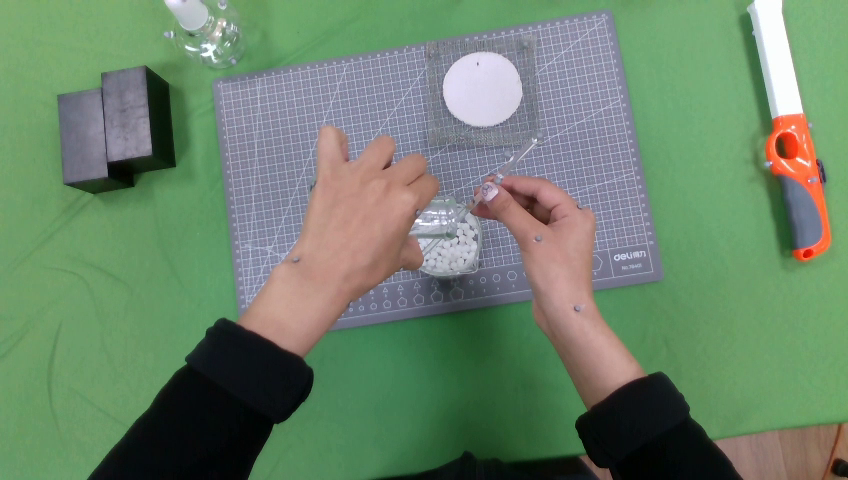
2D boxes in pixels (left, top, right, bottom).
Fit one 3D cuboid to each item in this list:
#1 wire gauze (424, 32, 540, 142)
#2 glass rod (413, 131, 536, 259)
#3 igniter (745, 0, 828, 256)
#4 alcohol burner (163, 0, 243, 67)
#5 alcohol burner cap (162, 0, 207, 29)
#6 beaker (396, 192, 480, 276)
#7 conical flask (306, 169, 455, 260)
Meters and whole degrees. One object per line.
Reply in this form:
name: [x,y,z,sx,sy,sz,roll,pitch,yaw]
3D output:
wire gauze: [0.062,-0.165,0.660,0.125,0.011,0.121,-1,83,2]
glass rod: [0.035,-0.031,0.520,0.008,0.200,0.008,15,54,-23]
igniter: [0.373,-0.121,0.624,0.057,0.025,0.275,-6,83,-6]
alcohol burner: [-0.239,-0.231,0.639,0.078,0.119,0.077,-1,84,6]
alcohol burner cap: [-0.242,-0.238,0.603,0.034,0.048,0.033,-1,77,5]
beaker: [0.020,0.000,0.599,0.083,0.100,0.074,45,89,8]
conical flask: [-0.036,-0.021,0.507,0.122,0.075,0.075,0,83,-11]
